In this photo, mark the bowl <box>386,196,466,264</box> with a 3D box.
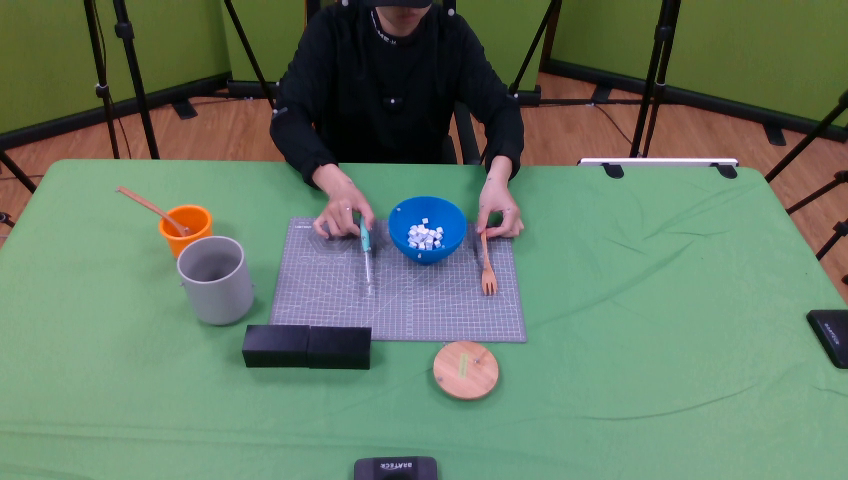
[{"bbox_3d":[0.002,-0.007,1.162,0.151,0.077,0.150,3,46,-2],"label":"bowl"}]

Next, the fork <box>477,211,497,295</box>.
[{"bbox_3d":[0.119,0.021,1.172,0.028,0.019,0.206,-22,50,22],"label":"fork"}]

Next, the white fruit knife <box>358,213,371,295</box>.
[{"bbox_3d":[-0.110,0.021,1.145,0.016,0.027,0.206,-15,49,5],"label":"white fruit knife"}]

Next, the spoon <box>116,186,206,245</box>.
[{"bbox_3d":[-0.474,-0.041,1.112,0.021,0.195,0.041,-31,31,29],"label":"spoon"}]

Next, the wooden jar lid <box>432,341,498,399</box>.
[{"bbox_3d":[0.067,0.216,0.997,0.108,0.021,0.107,1,46,-1],"label":"wooden jar lid"}]

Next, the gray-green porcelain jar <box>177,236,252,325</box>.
[{"bbox_3d":[-0.350,0.073,1.027,0.106,0.127,0.105,3,46,-3],"label":"gray-green porcelain jar"}]
